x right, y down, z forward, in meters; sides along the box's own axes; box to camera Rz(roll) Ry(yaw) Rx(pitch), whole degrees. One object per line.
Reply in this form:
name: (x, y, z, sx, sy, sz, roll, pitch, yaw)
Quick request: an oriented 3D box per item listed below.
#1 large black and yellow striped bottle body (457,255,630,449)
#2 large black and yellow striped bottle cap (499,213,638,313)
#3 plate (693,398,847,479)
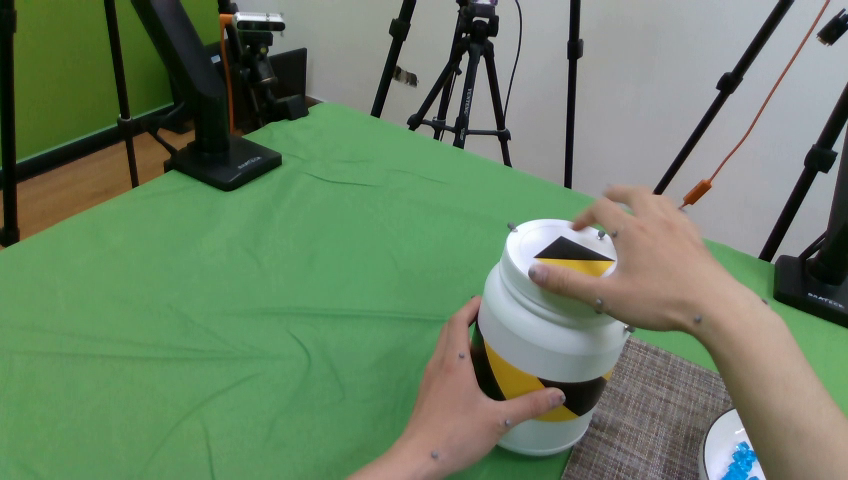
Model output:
large black and yellow striped bottle body: (0.108, 0.086, 0.555, 0.131, 0.185, 0.129, 7, 36, -4)
large black and yellow striped bottle cap: (0.120, 0.015, 0.506, 0.115, 0.019, 0.114, 7, 37, -5)
plate: (0.337, 0.232, 0.532, 0.208, 0.039, 0.205, 7, 35, -5)
